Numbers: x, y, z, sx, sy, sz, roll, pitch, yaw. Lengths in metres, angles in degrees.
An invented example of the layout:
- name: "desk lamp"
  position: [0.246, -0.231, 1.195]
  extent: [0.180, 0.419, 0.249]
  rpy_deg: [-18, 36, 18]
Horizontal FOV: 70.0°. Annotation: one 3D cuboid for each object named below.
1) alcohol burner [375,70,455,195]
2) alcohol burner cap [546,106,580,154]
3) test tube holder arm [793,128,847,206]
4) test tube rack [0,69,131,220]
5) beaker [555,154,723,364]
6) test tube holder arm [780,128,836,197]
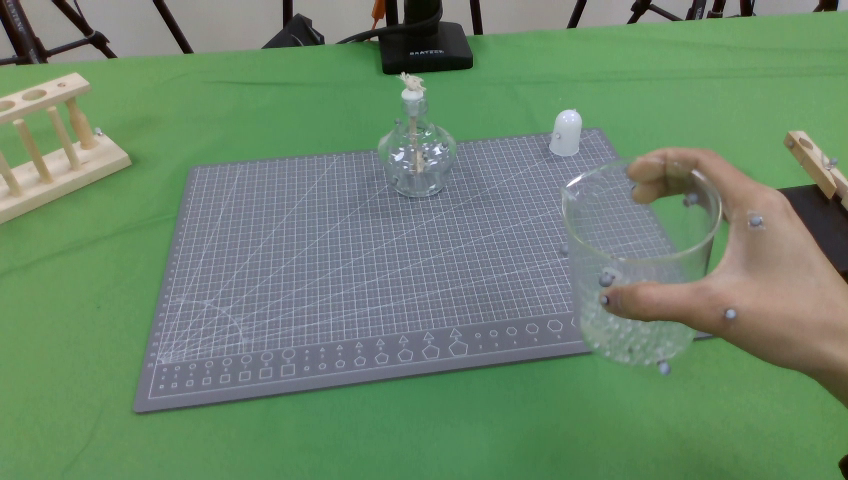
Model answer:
- name: "alcohol burner"
  position: [-0.009, -0.104, 0.576]
  extent: [0.078, 0.120, 0.077]
  rpy_deg: [-2, 42, 2]
- name: "alcohol burner cap"
  position: [0.149, -0.119, 0.642]
  extent: [0.034, 0.048, 0.033]
  rpy_deg: [0, 43, 1]
- name: "test tube holder arm"
  position: [0.353, -0.041, 0.507]
  extent: [0.013, 0.015, 0.176]
  rpy_deg: [-9, 43, 3]
- name: "test tube rack"
  position: [-0.421, -0.071, 0.573]
  extent: [0.242, 0.086, 0.066]
  rpy_deg: [-35, 53, -31]
- name: "beaker"
  position: [0.112, 0.014, 0.332]
  extent: [0.083, 0.101, 0.074]
  rpy_deg: [25, 59, 35]
- name: "test tube holder arm"
  position: [0.344, -0.070, 0.540]
  extent: [0.010, 0.015, 0.087]
  rpy_deg: [-9, 43, 3]
